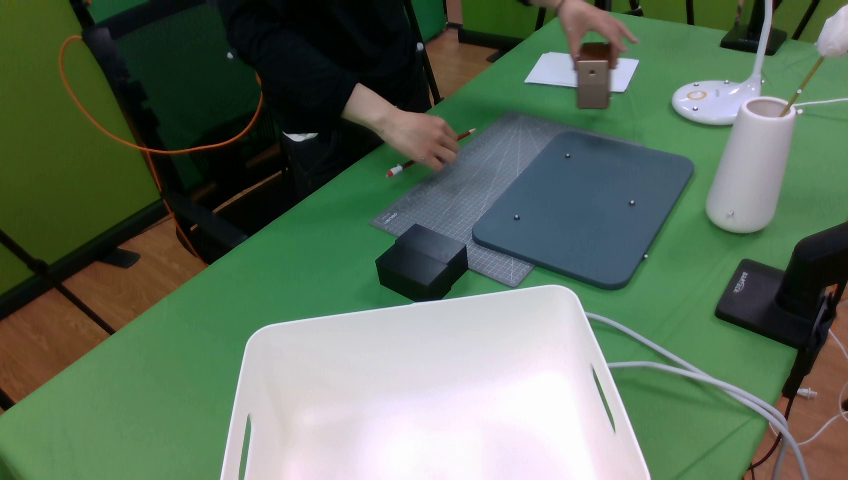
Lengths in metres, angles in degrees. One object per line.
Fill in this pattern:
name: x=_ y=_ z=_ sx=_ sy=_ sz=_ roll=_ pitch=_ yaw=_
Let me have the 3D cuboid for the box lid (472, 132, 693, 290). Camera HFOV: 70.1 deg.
box lid: x=0.273 y=-0.068 z=1.020 sx=0.261 sy=0.015 sz=0.372 roll=20 pitch=47 yaw=28

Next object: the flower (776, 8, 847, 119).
flower: x=0.476 y=-0.156 z=0.822 sx=0.038 sy=0.362 sz=0.044 roll=8 pitch=58 yaw=2

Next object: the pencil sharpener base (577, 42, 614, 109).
pencil sharpener base: x=0.333 y=-0.318 z=1.168 sx=0.061 sy=0.107 sz=0.076 roll=5 pitch=46 yaw=20

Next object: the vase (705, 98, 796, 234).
vase: x=0.480 y=-0.104 z=0.889 sx=0.098 sy=0.201 sz=0.097 roll=-4 pitch=42 yaw=4

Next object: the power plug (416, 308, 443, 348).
power plug: x=0.004 y=0.121 z=0.787 sx=0.035 sy=0.053 sz=0.072 roll=2 pitch=46 yaw=8

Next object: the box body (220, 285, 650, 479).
box body: x=0.006 y=0.210 z=0.618 sx=0.364 sy=0.161 sz=0.252 roll=-8 pitch=40 yaw=-1

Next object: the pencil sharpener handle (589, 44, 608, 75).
pencil sharpener handle: x=0.343 y=-0.362 z=1.194 sx=0.036 sy=0.068 sz=0.030 roll=13 pitch=48 yaw=12

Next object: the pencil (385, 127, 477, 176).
pencil: x=0.015 y=-0.160 z=1.075 sx=0.194 sy=0.012 sz=0.012 roll=-29 pitch=45 yaw=-15

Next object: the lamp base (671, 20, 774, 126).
lamp base: x=0.581 y=-0.332 z=1.154 sx=0.179 sy=0.181 sz=0.160 roll=2 pitch=41 yaw=7

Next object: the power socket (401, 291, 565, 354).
power socket: x=0.079 y=0.111 z=0.823 sx=0.227 sy=0.033 sz=0.072 roll=-5 pitch=41 yaw=1
